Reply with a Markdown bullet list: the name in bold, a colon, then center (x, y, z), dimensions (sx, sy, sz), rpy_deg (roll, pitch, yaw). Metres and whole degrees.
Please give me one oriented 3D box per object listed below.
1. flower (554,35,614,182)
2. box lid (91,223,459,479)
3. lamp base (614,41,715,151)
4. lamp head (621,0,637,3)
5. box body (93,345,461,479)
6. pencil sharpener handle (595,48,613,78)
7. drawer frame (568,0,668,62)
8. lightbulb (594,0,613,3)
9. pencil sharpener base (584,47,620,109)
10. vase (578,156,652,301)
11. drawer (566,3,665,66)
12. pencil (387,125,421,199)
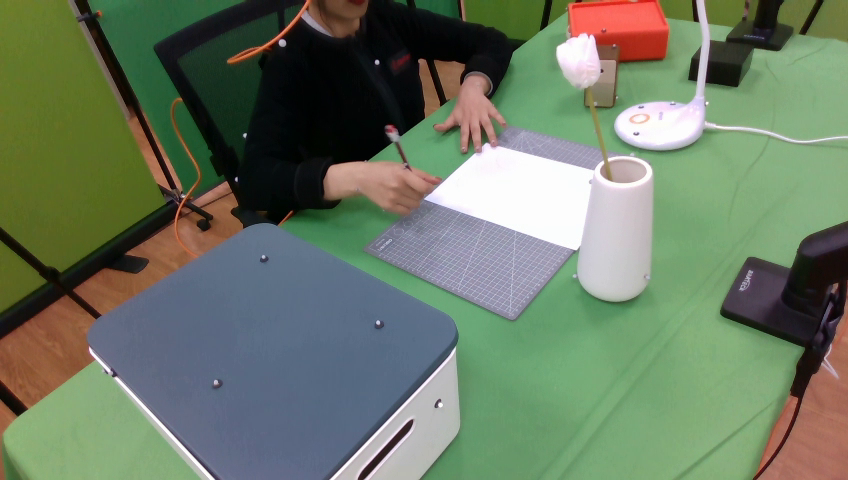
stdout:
- **flower**: center (0.237, -0.083, 0.774), dimensions (0.044, 0.363, 0.038), rpy_deg (-22, 26, 7)
- **box lid**: center (-0.174, 0.103, 0.667), dimensions (0.368, 0.015, 0.264), rpy_deg (24, 48, 35)
- **lamp base**: center (0.449, -0.277, 1.106), dimensions (0.179, 0.181, 0.160), rpy_deg (1, 41, 9)
- **lamp head**: center (0.319, -0.453, 0.962), dimensions (0.113, 0.123, 0.112), rpy_deg (20, 33, -13)
- **box body**: center (-0.162, 0.170, 0.708), dimensions (0.361, 0.161, 0.255), rpy_deg (25, 50, 34)
- **pencil sharpener handle**: center (0.382, -0.378, 1.276), dimensions (0.036, 0.068, 0.030), rpy_deg (3, 41, 21)
- **drawer frame**: center (0.450, -0.496, 1.441), dimensions (0.213, 0.083, 0.201), rpy_deg (-1, 40, 9)
- **lightbulb**: center (0.305, -0.438, 0.978), dimensions (0.060, 0.107, 0.059), rpy_deg (13, 43, -11)
- **pencil sharpener base**: center (0.367, -0.336, 1.248), dimensions (0.061, 0.107, 0.076), rpy_deg (6, 42, 19)
- **vase**: center (0.261, -0.011, 0.812), dimensions (0.098, 0.201, 0.097), rpy_deg (-4, 40, 4)
- **drawer**: center (0.447, -0.493, 1.440), dimensions (0.211, 0.073, 0.194), rpy_deg (0, 40, 10)
- **pencil**: center (-0.027, -0.117, 0.957), dimensions (0.012, 0.195, 0.012), rpy_deg (-6, 60, 11)
